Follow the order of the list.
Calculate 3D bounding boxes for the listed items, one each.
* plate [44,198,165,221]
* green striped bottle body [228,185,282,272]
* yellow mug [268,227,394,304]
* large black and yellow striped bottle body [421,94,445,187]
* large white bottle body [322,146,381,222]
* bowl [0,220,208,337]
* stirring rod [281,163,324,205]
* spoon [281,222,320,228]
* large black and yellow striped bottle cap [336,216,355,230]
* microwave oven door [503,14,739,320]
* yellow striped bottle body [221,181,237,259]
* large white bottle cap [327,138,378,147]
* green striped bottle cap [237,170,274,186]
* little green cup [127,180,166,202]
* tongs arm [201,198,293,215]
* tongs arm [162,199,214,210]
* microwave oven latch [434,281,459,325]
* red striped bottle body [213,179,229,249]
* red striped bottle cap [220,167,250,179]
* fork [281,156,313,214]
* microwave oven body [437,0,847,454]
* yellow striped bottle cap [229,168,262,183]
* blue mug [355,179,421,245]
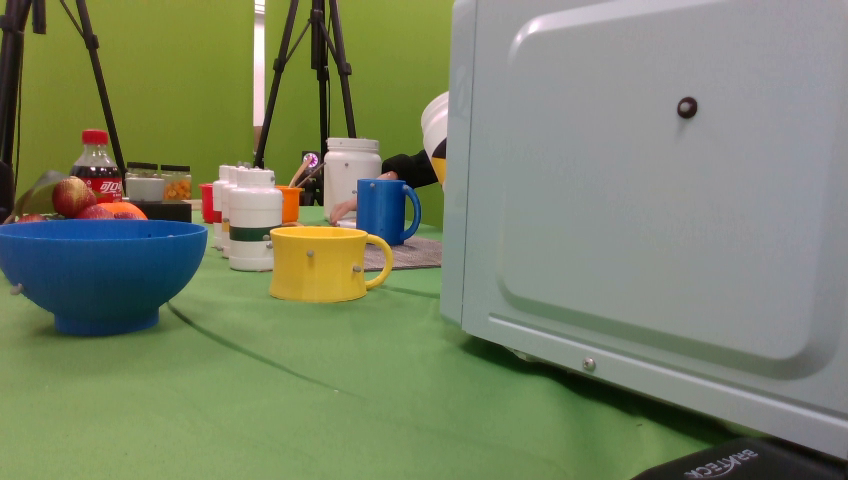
[{"bbox_3d":[-0.617,-0.056,1.179,0.209,0.038,0.209,3,7,0],"label":"plate"},{"bbox_3d":[-0.208,-0.023,0.745,0.063,0.119,0.063,2,7,0],"label":"green striped bottle body"},{"bbox_3d":[-0.094,0.023,0.630,0.131,0.064,0.099,0,8,-22],"label":"yellow mug"},{"bbox_3d":[0.076,-0.131,0.946,0.131,0.183,0.131,-19,-24,-8],"label":"large black and yellow striped bottle body"},{"bbox_3d":[-0.163,-0.135,1.369,0.131,0.184,0.130,2,7,0],"label":"large white bottle body"},{"bbox_3d":[-0.251,0.029,0.479,0.151,0.077,0.151,2,7,0],"label":"bowl"},{"bbox_3d":[-0.278,-0.105,1.293,0.176,0.006,0.014,-47,25,-18],"label":"stirring rod"},{"bbox_3d":[-0.227,-0.023,1.085,0.042,0.021,0.193,-24,18,-23],"label":"spoon"},{"bbox_3d":[-0.110,-0.029,1.150,0.115,0.019,0.115,0,12,0],"label":"large black and yellow striped bottle cap"},{"bbox_3d":[0.218,-0.065,0.600,0.358,0.243,0.039,-4,10,-41],"label":"microwave oven door"},{"bbox_3d":[-0.244,-0.035,0.823,0.063,0.120,0.063,2,8,0],"label":"yellow striped bottle body"},{"bbox_3d":[-0.160,-0.218,1.357,0.115,0.018,0.115,2,8,0],"label":"large white bottle cap"},{"bbox_3d":[-0.205,-0.075,0.737,0.044,0.020,0.044,1,6,0],"label":"green striped bottle cap"},{"bbox_3d":[-0.486,-0.086,1.062,0.061,0.038,0.061,0,7,0],"label":"little green cup"},{"bbox_3d":[-0.423,-0.084,1.472,0.050,0.026,0.386,2,6,21],"label":"tongs arm"},{"bbox_3d":[-0.504,-0.091,1.513,0.028,0.028,0.389,0,4,37],"label":"tongs arm"},{"bbox_3d":[0.044,0.045,0.470,0.079,0.029,0.030,-2,8,-39],"label":"microwave oven latch"},{"bbox_3d":[-0.284,-0.047,0.908,0.063,0.119,0.063,2,8,0],"label":"red striped bottle body"},{"bbox_3d":[-0.281,-0.100,0.901,0.044,0.017,0.044,-1,5,0],"label":"red striped bottle cap"},{"bbox_3d":[-0.289,-0.116,1.320,0.028,0.019,0.207,-1,48,27],"label":"fork"},{"bbox_3d":[0.279,-0.040,0.464,0.444,0.260,0.324,-3,9,-41],"label":"microwave oven body"},{"bbox_3d":[-0.240,-0.087,0.816,0.044,0.018,0.044,-3,6,1],"label":"yellow striped bottle cap"},{"bbox_3d":[-0.058,-0.047,1.004,0.116,0.106,0.082,6,9,24],"label":"blue mug"}]
